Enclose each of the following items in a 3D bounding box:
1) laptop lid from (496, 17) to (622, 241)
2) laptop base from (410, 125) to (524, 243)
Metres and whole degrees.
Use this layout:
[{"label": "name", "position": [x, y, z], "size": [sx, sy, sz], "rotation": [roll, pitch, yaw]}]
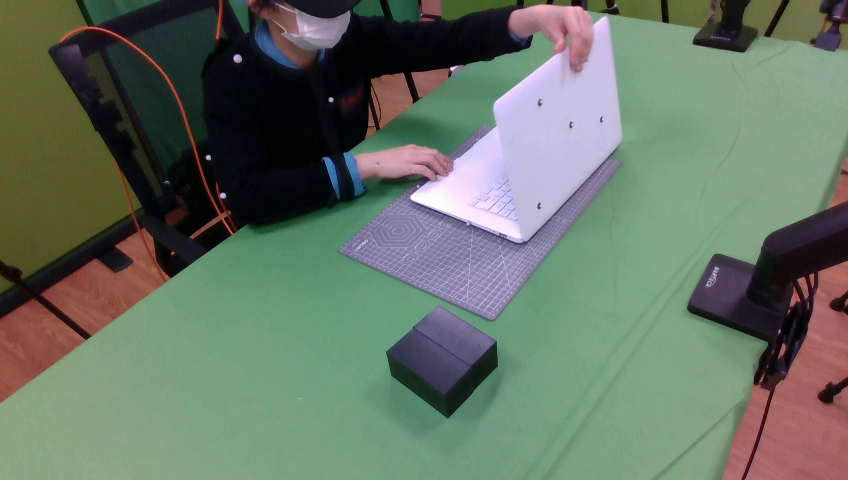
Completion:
[{"label": "laptop lid", "position": [0.234, -0.185, 0.969], "size": [0.013, 0.243, 0.358], "rotation": [13, 41, 40]}, {"label": "laptop base", "position": [0.171, -0.126, 1.096], "size": [0.233, 0.023, 0.355], "rotation": [21, 47, 33]}]
